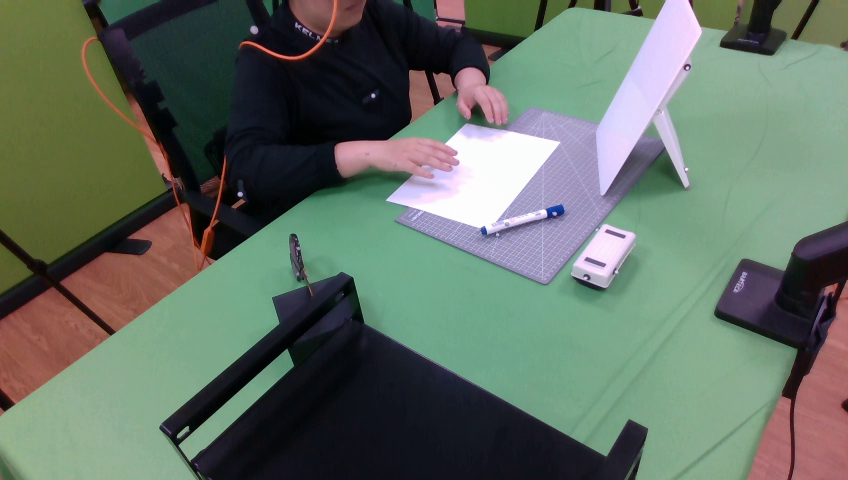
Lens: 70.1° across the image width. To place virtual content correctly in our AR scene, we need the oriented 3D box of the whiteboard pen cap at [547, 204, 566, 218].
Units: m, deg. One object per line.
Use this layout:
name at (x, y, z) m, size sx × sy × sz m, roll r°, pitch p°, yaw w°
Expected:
whiteboard pen cap at (0.216, -0.046, 0.997) m, size 0.033 × 0.018 × 0.018 m, roll -18°, pitch 41°, yaw -10°

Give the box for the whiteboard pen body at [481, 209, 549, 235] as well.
whiteboard pen body at (0.160, -0.032, 0.985) m, size 0.141 × 0.017 × 0.017 m, roll -16°, pitch 41°, yaw -12°

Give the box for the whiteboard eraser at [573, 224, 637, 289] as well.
whiteboard eraser at (0.267, 0.025, 0.890) m, size 0.055 × 0.042 × 0.113 m, roll 19°, pitch 47°, yaw 31°

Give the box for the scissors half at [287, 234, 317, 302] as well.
scissors half at (-0.179, 0.040, 0.884) m, size 0.013 × 0.040 × 0.173 m, roll -11°, pitch 36°, yaw -20°

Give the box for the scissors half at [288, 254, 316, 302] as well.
scissors half at (-0.178, 0.058, 0.894) m, size 0.013 × 0.040 × 0.174 m, roll -16°, pitch 20°, yaw -17°

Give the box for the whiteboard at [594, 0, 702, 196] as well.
whiteboard at (0.420, -0.227, 1.010) m, size 0.144 × 0.305 × 0.216 m, roll 18°, pitch 42°, yaw -2°
